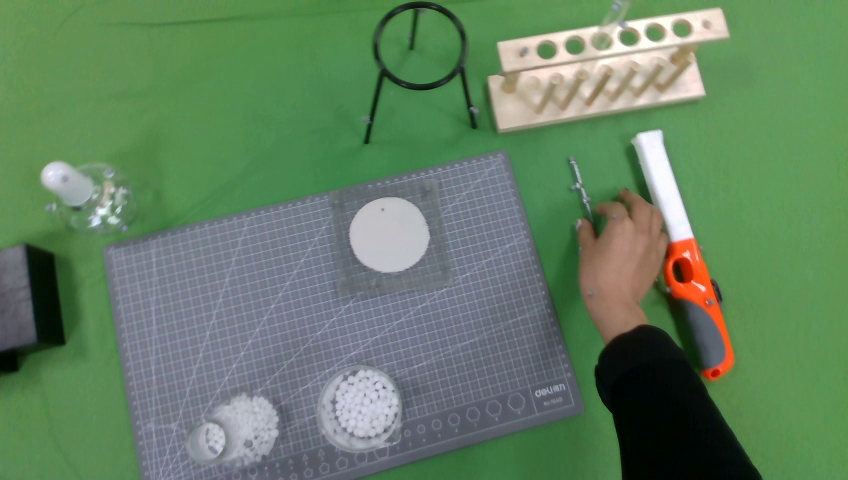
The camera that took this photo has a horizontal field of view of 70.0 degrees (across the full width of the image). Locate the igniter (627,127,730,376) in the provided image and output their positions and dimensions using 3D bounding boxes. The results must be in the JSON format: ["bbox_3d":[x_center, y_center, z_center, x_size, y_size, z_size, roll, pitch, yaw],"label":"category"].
[{"bbox_3d":[0.277,0.008,0.660,0.057,0.025,0.275,-11,79,-14],"label":"igniter"}]

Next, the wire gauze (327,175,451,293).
[{"bbox_3d":[-0.039,-0.007,0.658,0.125,0.011,0.121,-6,79,-6],"label":"wire gauze"}]

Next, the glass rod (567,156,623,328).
[{"bbox_3d":[0.187,0.000,0.668,0.008,0.008,0.199,-13,79,-5],"label":"glass rod"}]

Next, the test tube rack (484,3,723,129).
[{"bbox_3d":[0.194,-0.189,0.666,0.242,0.085,0.066,-11,78,-4],"label":"test tube rack"}]

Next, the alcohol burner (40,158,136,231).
[{"bbox_3d":[-0.340,-0.049,0.604,0.078,0.119,0.077,0,80,0],"label":"alcohol burner"}]

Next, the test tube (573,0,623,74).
[{"bbox_3d":[0.176,-0.209,0.619,0.017,0.151,0.017,0,78,1],"label":"test tube"}]

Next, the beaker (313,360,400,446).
[{"bbox_3d":[-0.057,0.155,0.579,0.084,0.100,0.074,39,80,5],"label":"beaker"}]

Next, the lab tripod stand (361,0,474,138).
[{"bbox_3d":[-0.011,-0.171,0.631,0.148,0.132,0.148,0,80,-2],"label":"lab tripod stand"}]

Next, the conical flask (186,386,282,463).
[{"bbox_3d":[-0.180,0.174,0.558,0.075,0.122,0.075,0,78,-2],"label":"conical flask"}]

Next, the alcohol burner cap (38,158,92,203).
[{"bbox_3d":[-0.339,-0.059,0.569,0.034,0.048,0.033,0,72,-1],"label":"alcohol burner cap"}]
